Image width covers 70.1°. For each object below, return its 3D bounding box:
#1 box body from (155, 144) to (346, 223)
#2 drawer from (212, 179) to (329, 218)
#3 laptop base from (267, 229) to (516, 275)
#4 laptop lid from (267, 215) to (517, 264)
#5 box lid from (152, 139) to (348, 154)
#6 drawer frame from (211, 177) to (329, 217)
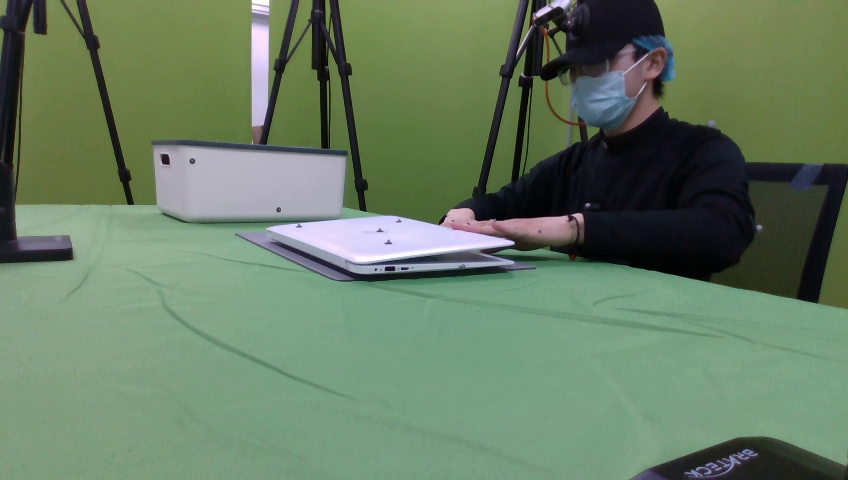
[{"bbox_3d":[-0.384,-0.131,1.346,0.366,0.160,0.253,-3,9,-36],"label":"box body"},{"bbox_3d":[-0.348,-0.097,1.365,0.213,0.073,0.193,-1,10,-32],"label":"drawer"},{"bbox_3d":[-0.065,0.014,0.877,0.237,0.023,0.352,1,7,-32],"label":"laptop base"},{"bbox_3d":[-0.064,-0.010,0.874,0.243,0.013,0.355,-6,11,-29],"label":"laptop lid"},{"bbox_3d":[-0.379,-0.205,1.338,0.373,0.015,0.262,-3,10,-36],"label":"box lid"},{"bbox_3d":[-0.349,-0.101,1.365,0.215,0.082,0.200,-4,9,-32],"label":"drawer frame"}]
